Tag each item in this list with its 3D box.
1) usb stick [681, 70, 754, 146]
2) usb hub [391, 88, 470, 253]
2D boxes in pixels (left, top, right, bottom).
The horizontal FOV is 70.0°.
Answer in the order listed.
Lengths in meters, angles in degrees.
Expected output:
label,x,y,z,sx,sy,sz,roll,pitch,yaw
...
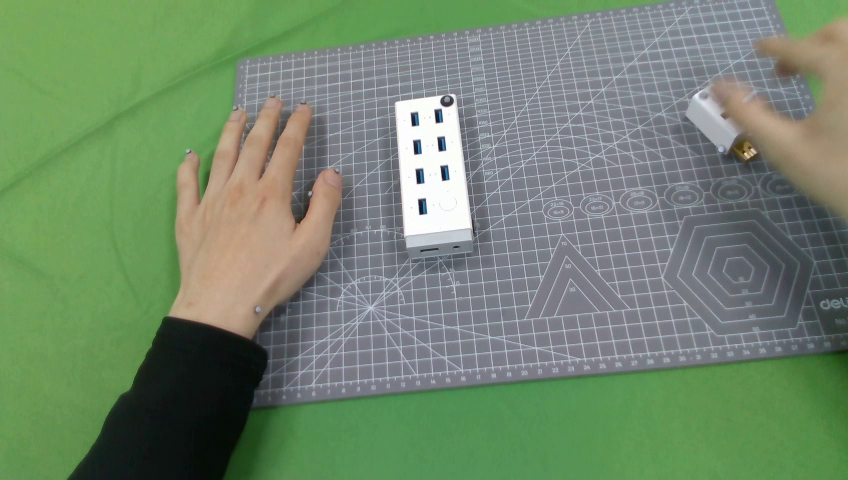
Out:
label,x,y,z,sx,sy,sz,roll,pitch,yaw
usb stick,0.208,-0.098,0.440,0.021,0.027,0.058,-7,60,-31
usb hub,0.005,-0.053,0.448,0.049,0.025,0.124,-7,67,4
